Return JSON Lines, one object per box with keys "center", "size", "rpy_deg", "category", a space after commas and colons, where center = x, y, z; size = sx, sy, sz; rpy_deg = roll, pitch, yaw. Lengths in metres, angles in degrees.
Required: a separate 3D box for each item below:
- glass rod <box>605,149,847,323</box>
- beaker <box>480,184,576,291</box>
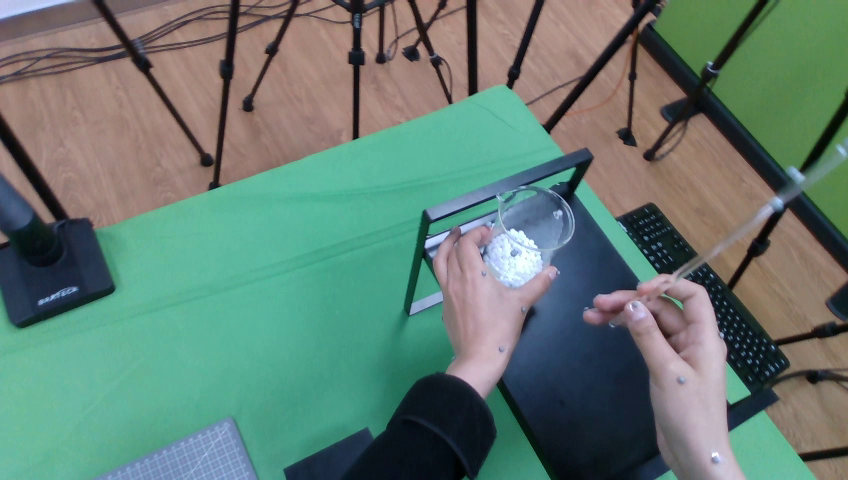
{"center": [0.201, 0.005, 0.426], "size": [0.008, 0.200, 0.008], "rpy_deg": [27, 38, -23], "category": "glass rod"}
{"center": [0.098, 0.000, 0.613], "size": [0.083, 0.101, 0.074], "rpy_deg": [37, 61, 14], "category": "beaker"}
